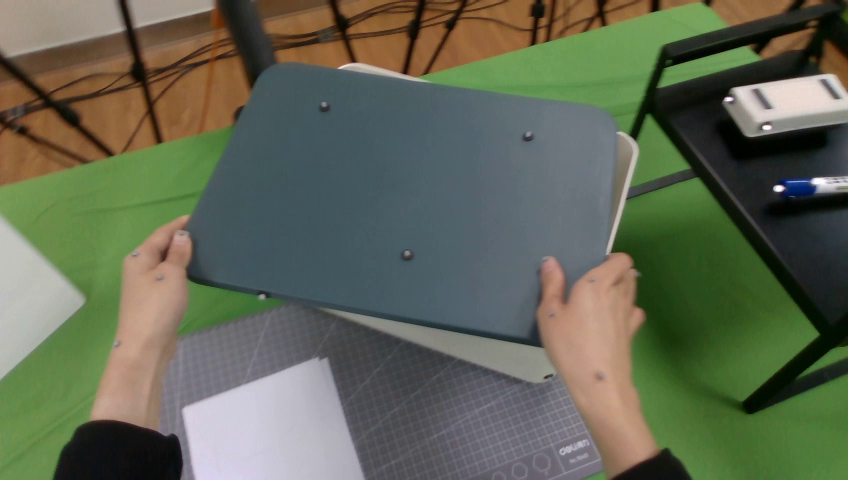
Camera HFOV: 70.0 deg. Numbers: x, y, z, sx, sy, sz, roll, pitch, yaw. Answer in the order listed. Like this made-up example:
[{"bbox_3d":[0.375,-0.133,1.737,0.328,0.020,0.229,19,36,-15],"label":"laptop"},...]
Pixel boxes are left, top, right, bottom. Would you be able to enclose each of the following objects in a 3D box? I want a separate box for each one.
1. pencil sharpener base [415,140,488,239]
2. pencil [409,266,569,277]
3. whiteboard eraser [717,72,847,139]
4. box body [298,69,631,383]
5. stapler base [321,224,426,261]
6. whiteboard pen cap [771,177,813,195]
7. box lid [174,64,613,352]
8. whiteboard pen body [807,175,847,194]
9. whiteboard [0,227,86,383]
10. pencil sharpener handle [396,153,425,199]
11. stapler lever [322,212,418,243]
[{"bbox_3d":[0.031,-0.061,0.743,0.076,0.108,0.061,15,56,10],"label":"pencil sharpener base"},{"bbox_3d":[0.077,0.037,0.736,0.194,0.012,0.012,1,56,6],"label":"pencil"},{"bbox_3d":[0.362,-0.134,0.614,0.113,0.042,0.055,-10,58,-6],"label":"whiteboard eraser"},{"bbox_3d":[0.016,-0.019,0.687,0.363,0.162,0.252,17,58,12],"label":"box body"},{"bbox_3d":[-0.063,-0.002,0.754,0.130,0.024,0.041,5,54,5],"label":"stapler base"},{"bbox_3d":[0.343,-0.050,0.563,0.033,0.018,0.018,-3,56,-8],"label":"whiteboard pen cap"},{"bbox_3d":[-0.018,-0.048,0.563,0.371,0.015,0.261,10,60,6],"label":"box lid"},{"bbox_3d":[0.401,-0.054,0.569,0.141,0.017,0.017,-4,56,-6],"label":"whiteboard pen body"},{"bbox_3d":[-0.563,0.031,0.618,0.142,0.309,0.216,19,57,36],"label":"whiteboard"},{"bbox_3d":[-0.019,-0.079,0.740,0.030,0.068,0.036,15,46,11],"label":"pencil sharpener handle"},{"bbox_3d":[-0.066,-0.016,0.733,0.118,0.040,0.026,4,53,6],"label":"stapler lever"}]
